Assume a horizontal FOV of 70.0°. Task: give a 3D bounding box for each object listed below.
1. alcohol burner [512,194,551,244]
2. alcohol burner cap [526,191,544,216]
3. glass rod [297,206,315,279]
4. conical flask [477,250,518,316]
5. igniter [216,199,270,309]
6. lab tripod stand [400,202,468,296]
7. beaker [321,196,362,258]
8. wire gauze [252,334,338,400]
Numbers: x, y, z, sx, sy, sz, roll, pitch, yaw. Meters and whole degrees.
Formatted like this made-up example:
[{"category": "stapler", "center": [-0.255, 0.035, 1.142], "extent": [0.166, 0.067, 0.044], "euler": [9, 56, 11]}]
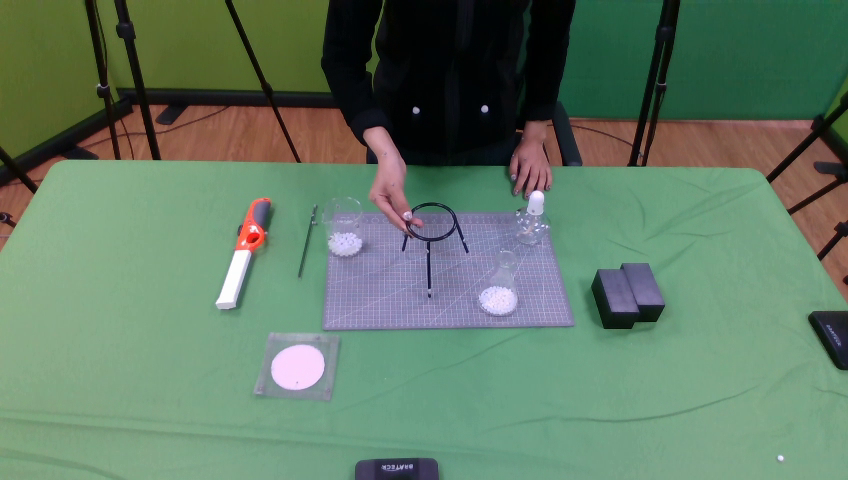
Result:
[{"category": "alcohol burner", "center": [0.215, -0.048, 1.196], "extent": [0.078, 0.119, 0.077], "euler": [4, 46, -4]}, {"category": "alcohol burner cap", "center": [0.216, -0.073, 1.170], "extent": [0.034, 0.048, 0.033], "euler": [0, 42, 1]}, {"category": "glass rod", "center": [-0.231, 0.000, 1.191], "extent": [0.008, 0.008, 0.198], "euler": [2, 46, -1]}, {"category": "conical flask", "center": [0.137, 0.072, 1.067], "extent": [0.075, 0.122, 0.075], "euler": [2, 46, -2]}, {"category": "igniter", "center": [-0.342, 0.016, 1.153], "extent": [0.057, 0.025, 0.275], "euler": [-3, 45, 7]}, {"category": "lab tripod stand", "center": [0.016, 0.005, 1.097], "extent": [0.148, 0.132, 0.147], "euler": [-1, 48, 1]}, {"category": "beaker", "center": [-0.156, -0.020, 1.150], "extent": [0.084, 0.101, 0.073], "euler": [-30, 55, -28]}, {"category": "wire gauze", "center": [-0.209, 0.204, 0.996], "extent": [0.125, 0.011, 0.120], "euler": [3, 45, 1]}]
